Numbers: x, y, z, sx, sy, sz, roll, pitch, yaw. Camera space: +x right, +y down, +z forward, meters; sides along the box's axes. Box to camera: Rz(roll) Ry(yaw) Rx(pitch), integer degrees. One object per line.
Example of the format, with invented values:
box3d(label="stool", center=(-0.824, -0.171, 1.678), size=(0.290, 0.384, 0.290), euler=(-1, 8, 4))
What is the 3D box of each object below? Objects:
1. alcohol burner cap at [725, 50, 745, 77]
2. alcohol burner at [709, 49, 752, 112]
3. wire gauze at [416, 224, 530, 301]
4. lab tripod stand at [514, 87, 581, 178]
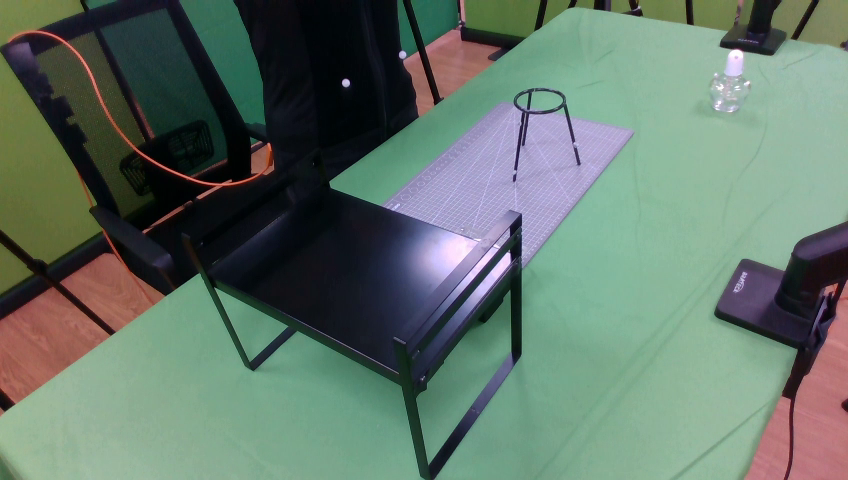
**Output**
box3d(label="alcohol burner cap", center=(0.596, -0.340, 1.154), size=(0.034, 0.048, 0.033), euler=(-8, 45, 8))
box3d(label="alcohol burner", center=(0.600, -0.313, 1.178), size=(0.078, 0.119, 0.077), euler=(-5, 40, 5))
box3d(label="wire gauze", center=(0.071, 0.025, 0.872), size=(0.124, 0.011, 0.122), euler=(27, 50, 33))
box3d(label="lab tripod stand", center=(0.211, -0.196, 1.083), size=(0.148, 0.132, 0.147), euler=(-3, 39, 3))
